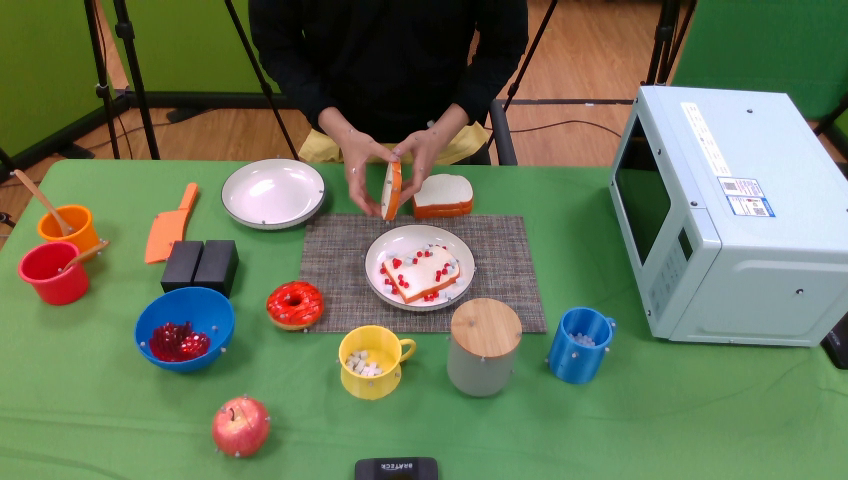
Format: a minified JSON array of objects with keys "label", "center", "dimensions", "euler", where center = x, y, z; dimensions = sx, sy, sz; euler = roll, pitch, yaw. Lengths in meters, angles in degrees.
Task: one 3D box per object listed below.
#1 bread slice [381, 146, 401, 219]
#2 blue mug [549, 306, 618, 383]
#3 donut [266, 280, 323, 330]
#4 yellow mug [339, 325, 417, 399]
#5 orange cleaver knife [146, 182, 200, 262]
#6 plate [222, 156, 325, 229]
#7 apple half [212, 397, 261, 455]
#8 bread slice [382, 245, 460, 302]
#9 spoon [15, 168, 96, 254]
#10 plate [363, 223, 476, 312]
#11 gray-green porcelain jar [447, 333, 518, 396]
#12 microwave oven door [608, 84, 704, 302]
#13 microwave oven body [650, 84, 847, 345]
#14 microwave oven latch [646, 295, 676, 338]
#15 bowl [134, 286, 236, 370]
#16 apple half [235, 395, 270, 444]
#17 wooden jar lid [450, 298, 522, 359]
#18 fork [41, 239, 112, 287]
[{"label":"bread slice","center":[-0.059,-0.099,1.075],"dimensions":[0.018,0.107,0.133],"euler":[7,24,-10]},{"label":"blue mug","center":[0.269,0.167,0.997],"dimensions":[0.116,0.106,0.082],"euler":[-19,51,-21]},{"label":"donut","center":[-0.223,0.113,1.051],"dimensions":[0.099,0.048,0.098],"euler":[2,45,-2]},{"label":"yellow mug","center":[-0.072,0.191,0.978],"dimensions":[0.131,0.064,0.099],"euler":[-17,49,-20]},{"label":"orange cleaver knife","center":[-0.494,-0.039,1.198],"dimensions":[0.077,0.012,0.210],"euler":[-3,48,2]},{"label":"plate","center":[-0.308,-0.095,1.251],"dimensions":[0.209,0.038,0.208],"euler":[2,47,-2]},{"label":"apple half","center":[-0.276,0.277,0.877],"dimensions":[0.053,0.075,0.080],"euler":[-29,58,-21]},{"label":"bread slice","center":[0.000,0.053,1.128],"dimensions":[0.132,0.019,0.104],"euler":[-20,51,-22]},{"label":"spoon","center":[-0.675,-0.052,1.109],"dimensions":[0.041,0.194,0.021],"euler":[-43,18,-34]},{"label":"plate","center":[-0.009,0.054,1.126],"dimensions":[0.208,0.039,0.206],"euler":[2,47,-2]},{"label":"gray-green porcelain jar","center":[0.091,0.178,0.960],"dimensions":[0.106,0.127,0.105],"euler":[2,47,-2]},{"label":"microwave oven door","center":[0.424,-0.096,1.138],"dimensions":[0.039,0.245,0.353],"euler":[2,47,-1]},{"label":"microwave oven body","center":[0.569,-0.054,1.116],"dimensions":[0.326,0.261,0.439],"euler":[2,46,-1]},{"label":"microwave oven latch","center":[0.413,0.133,1.060],"dimensions":[0.030,0.029,0.078],"euler":[4,46,1]},{"label":"bowl","center":[-0.377,0.156,0.981],"dimensions":[0.151,0.077,0.150],"euler":[2,46,-2]},{"label":"apple half","center":[-0.245,0.260,0.893],"dimensions":[0.033,0.082,0.081],"euler":[-29,55,-22]},{"label":"wooden jar lid","center":[0.093,0.135,0.914],"dimensions":[0.108,0.021,0.107],"euler":[3,48,-3]},{"label":"fork","center":[-0.591,0.040,1.028],"dimensions":[0.207,0.019,0.028],"euler":[-27,36,29]}]
